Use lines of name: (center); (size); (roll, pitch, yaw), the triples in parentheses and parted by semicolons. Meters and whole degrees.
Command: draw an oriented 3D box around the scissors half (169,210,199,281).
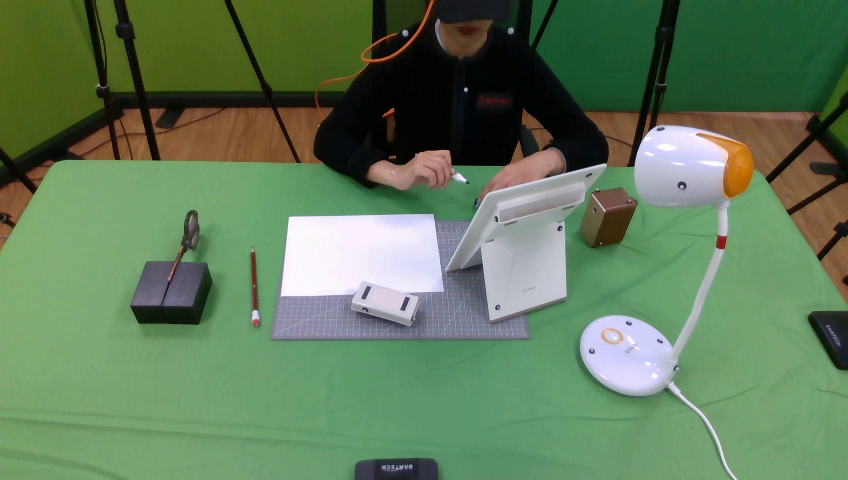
scissors half: (-0.438, 0.007, 1.098); (0.013, 0.040, 0.174); (3, 47, -3)

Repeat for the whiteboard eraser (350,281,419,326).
whiteboard eraser: (-0.069, 0.113, 1.065); (0.112, 0.042, 0.055); (14, 46, 9)

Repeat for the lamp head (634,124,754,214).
lamp head: (0.351, -0.089, 0.776); (0.112, 0.113, 0.122); (-30, 30, -28)

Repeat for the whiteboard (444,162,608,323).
whiteboard: (0.186, 0.025, 1.029); (0.217, 0.306, 0.143); (-14, 68, -17)

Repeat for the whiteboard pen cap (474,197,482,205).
whiteboard pen cap: (0.123, -0.080, 1.286); (0.033, 0.018, 0.018); (25, 50, 18)

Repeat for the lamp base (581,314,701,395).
lamp base: (0.361, 0.144, 0.973); (0.178, 0.181, 0.160); (34, 53, 23)

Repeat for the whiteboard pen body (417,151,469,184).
whiteboard pen body: (0.040, -0.149, 1.251); (0.140, 0.017, 0.017); (34, 53, 28)

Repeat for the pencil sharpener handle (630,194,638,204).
pencil sharpener handle: (0.417, -0.068, 1.215); (0.031, 0.068, 0.036); (-11, 60, -15)

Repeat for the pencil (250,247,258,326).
pencil: (-0.312, 0.079, 1.107); (0.012, 0.012, 0.192); (-7, 46, -11)

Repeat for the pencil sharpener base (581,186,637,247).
pencil sharpener base: (0.369, -0.047, 1.209); (0.077, 0.107, 0.061); (-11, 47, -15)

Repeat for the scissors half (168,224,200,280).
scissors half: (-0.440, 0.023, 1.111); (0.013, 0.040, 0.174); (7, 29, -6)
